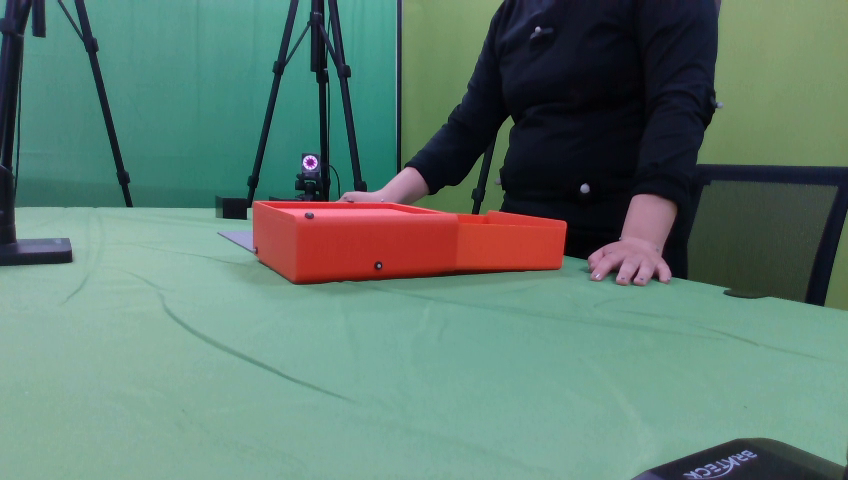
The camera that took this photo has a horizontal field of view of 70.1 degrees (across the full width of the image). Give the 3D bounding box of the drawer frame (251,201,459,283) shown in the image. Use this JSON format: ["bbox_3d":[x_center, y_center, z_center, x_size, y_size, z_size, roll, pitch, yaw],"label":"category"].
[{"bbox_3d":[-0.095,-0.005,0.788,0.215,0.082,0.200,-2,10,-30],"label":"drawer frame"}]

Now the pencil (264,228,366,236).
[{"bbox_3d":[-0.195,-0.013,1.108,0.195,0.012,0.012,2,7,-28],"label":"pencil"}]

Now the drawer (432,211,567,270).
[{"bbox_3d":[0.063,-0.004,0.879,0.213,0.073,0.193,1,7,-30],"label":"drawer"}]
